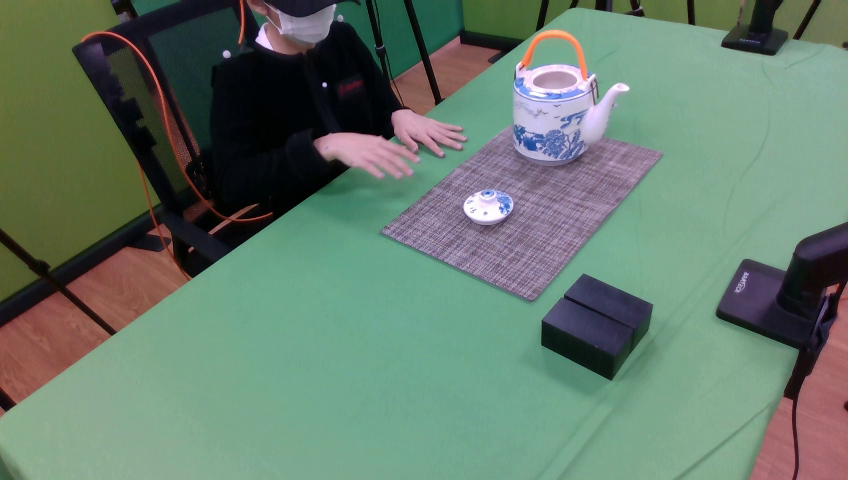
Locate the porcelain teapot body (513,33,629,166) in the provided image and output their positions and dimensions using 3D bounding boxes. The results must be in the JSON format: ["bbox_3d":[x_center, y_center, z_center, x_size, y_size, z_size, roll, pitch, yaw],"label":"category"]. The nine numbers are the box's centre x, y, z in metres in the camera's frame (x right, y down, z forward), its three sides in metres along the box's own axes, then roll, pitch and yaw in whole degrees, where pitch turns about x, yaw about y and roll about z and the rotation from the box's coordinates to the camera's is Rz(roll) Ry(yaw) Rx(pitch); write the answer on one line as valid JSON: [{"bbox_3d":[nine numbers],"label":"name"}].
[{"bbox_3d":[0.256,-0.248,1.065,0.204,0.226,0.145,18,47,28],"label":"porcelain teapot body"}]

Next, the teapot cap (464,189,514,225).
[{"bbox_3d":[0.108,-0.061,1.009,0.085,0.044,0.085,-2,39,2],"label":"teapot cap"}]
